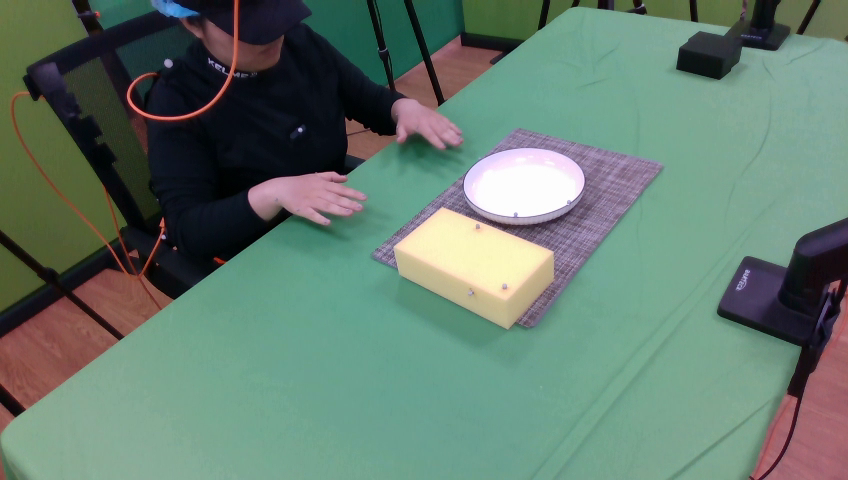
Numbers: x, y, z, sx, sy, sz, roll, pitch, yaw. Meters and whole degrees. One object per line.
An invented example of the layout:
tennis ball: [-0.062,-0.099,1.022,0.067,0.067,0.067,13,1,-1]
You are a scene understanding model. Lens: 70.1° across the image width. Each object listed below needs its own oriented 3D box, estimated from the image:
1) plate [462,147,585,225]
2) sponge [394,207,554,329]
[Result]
plate: [0.170,-0.089,1.041,0.207,0.039,0.206,-5,40,5]
sponge: [0.073,0.035,0.895,0.205,0.061,0.118,24,50,33]
